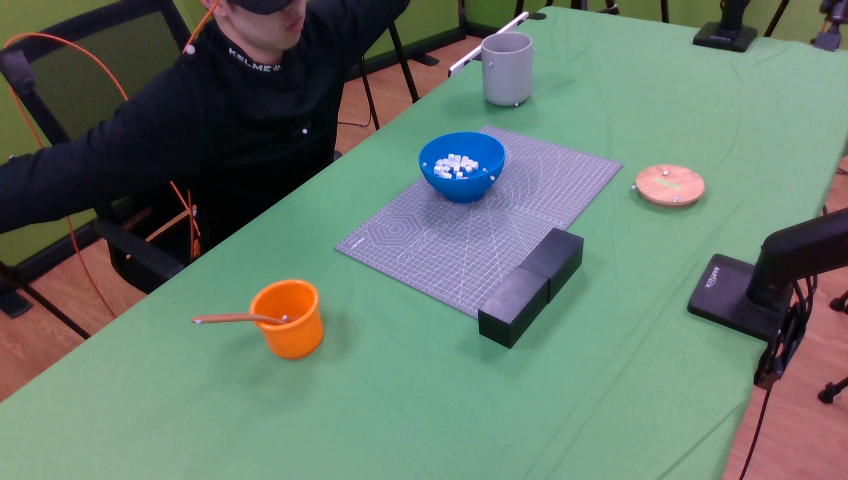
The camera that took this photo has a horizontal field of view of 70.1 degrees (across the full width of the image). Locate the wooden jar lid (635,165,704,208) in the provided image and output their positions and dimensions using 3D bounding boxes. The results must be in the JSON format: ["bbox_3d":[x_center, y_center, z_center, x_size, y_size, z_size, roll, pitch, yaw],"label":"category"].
[{"bbox_3d":[0.410,-0.089,1.014,0.108,0.021,0.108,-5,42,5],"label":"wooden jar lid"}]

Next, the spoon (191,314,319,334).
[{"bbox_3d":[-0.212,0.105,0.781,0.041,0.195,0.021,29,97,37],"label":"spoon"}]

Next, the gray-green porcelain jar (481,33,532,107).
[{"bbox_3d":[0.175,-0.355,1.278,0.106,0.127,0.105,-4,41,4],"label":"gray-green porcelain jar"}]

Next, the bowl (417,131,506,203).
[{"bbox_3d":[0.068,-0.117,1.048,0.151,0.077,0.150,-4,41,4],"label":"bowl"}]
